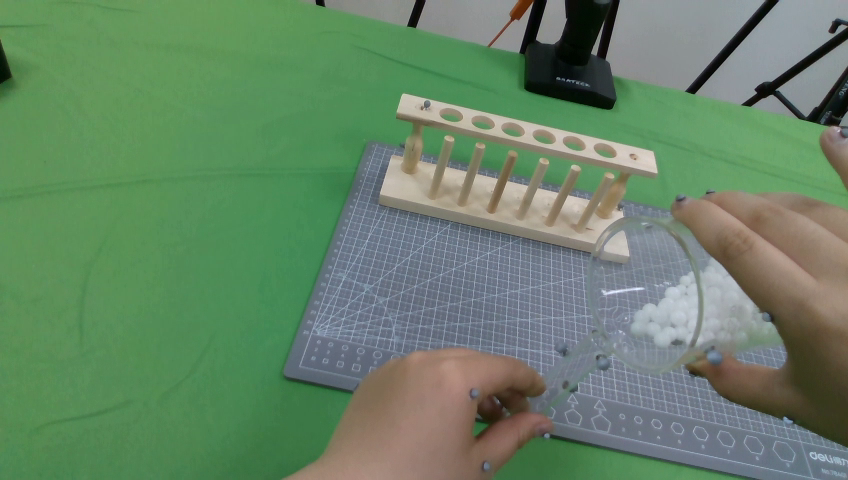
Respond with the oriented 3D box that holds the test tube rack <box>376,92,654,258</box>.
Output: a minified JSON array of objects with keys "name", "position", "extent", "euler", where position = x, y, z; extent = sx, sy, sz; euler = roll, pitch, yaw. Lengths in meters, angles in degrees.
[{"name":"test tube rack","position":[0.084,-0.060,0.573],"extent":[0.242,0.086,0.066],"euler":[13,44,-2]}]

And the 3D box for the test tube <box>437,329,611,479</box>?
[{"name":"test tube","position":[0.052,0.102,0.351],"extent":[0.017,0.150,0.017],"euler":[27,32,-18]}]

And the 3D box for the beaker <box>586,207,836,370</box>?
[{"name":"beaker","position":[0.143,0.023,0.305],"extent":[0.101,0.084,0.073],"euler":[-4,50,-23]}]
